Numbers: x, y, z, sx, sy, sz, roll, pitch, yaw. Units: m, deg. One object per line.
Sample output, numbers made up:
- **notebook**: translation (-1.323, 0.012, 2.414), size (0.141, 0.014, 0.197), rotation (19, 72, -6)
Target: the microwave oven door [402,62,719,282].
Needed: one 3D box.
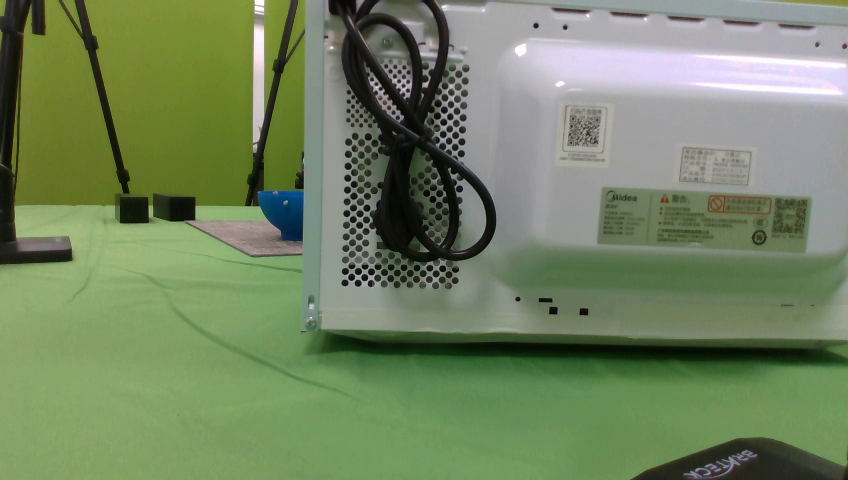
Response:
- **microwave oven door**: translation (0.156, -0.080, 0.715), size (0.356, 0.243, 0.039), rotation (2, 7, 2)

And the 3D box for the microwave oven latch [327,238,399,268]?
- **microwave oven latch**: translation (-0.069, 0.015, 0.694), size (0.079, 0.029, 0.030), rotation (3, 7, -3)

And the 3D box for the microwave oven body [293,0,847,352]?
- **microwave oven body**: translation (0.122, -0.055, 0.550), size (0.442, 0.260, 0.325), rotation (3, 7, -5)

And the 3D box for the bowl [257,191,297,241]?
- **bowl**: translation (-0.206, -0.041, 1.027), size (0.151, 0.077, 0.151), rotation (3, 8, 0)
